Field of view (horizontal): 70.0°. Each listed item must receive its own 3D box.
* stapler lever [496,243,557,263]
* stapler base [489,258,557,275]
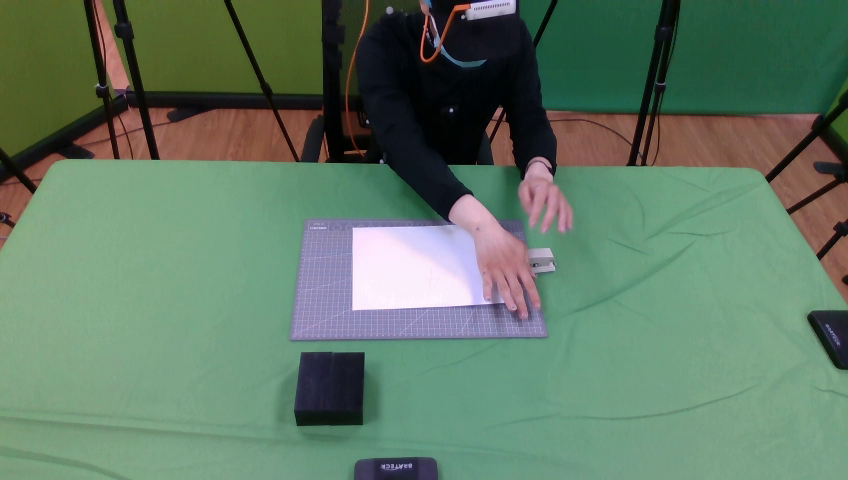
[{"bbox_3d":[0.195,0.023,1.144,0.118,0.040,0.026,-4,50,-11],"label":"stapler lever"},{"bbox_3d":[0.191,0.041,1.162,0.131,0.024,0.041,-4,50,-10],"label":"stapler base"}]
